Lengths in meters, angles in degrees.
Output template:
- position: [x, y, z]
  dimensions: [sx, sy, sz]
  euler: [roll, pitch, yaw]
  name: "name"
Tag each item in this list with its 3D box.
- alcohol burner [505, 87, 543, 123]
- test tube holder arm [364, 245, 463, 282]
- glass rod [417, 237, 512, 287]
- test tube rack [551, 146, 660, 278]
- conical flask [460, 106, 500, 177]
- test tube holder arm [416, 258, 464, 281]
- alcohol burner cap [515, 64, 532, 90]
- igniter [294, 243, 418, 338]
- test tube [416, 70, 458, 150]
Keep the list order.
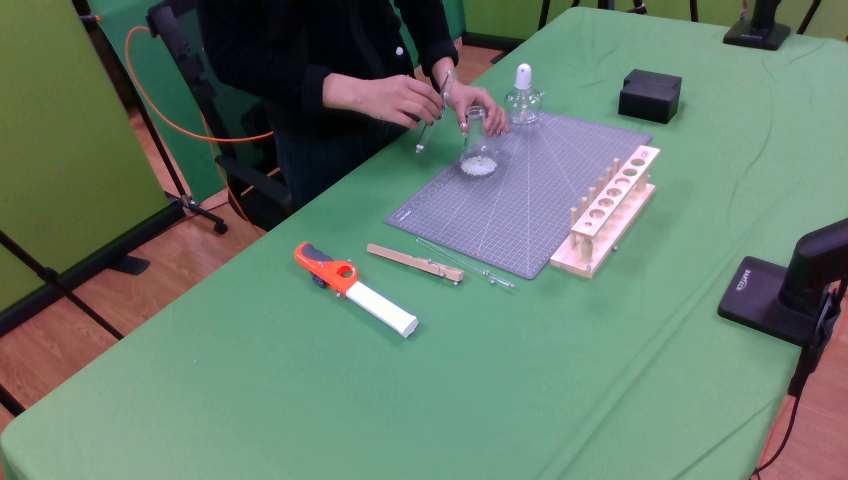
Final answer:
- position: [0.202, -0.298, 1.222]
  dimensions: [0.078, 0.119, 0.077]
  euler: [-4, 40, 4]
  name: "alcohol burner"
- position: [-0.020, 0.034, 0.947]
  dimensions: [0.177, 0.015, 0.013]
  euler: [16, 10, 26]
  name: "test tube holder arm"
- position: [0.059, 0.032, 0.945]
  dimensions: [0.198, 0.008, 0.008]
  euler: [26, 52, 38]
  name: "glass rod"
- position: [0.286, -0.053, 0.943]
  dimensions: [0.066, 0.085, 0.243]
  euler: [21, 49, 32]
  name: "test tube rack"
- position: [0.097, -0.181, 1.097]
  dimensions: [0.075, 0.122, 0.075]
  euler: [-6, 40, 5]
  name: "conical flask"
- position: [0.022, 0.045, 0.931]
  dimensions: [0.087, 0.015, 0.010]
  euler: [16, 10, 28]
  name: "test tube holder arm"
- position: [0.199, -0.325, 1.198]
  dimensions: [0.034, 0.048, 0.033]
  euler: [0, 45, 1]
  name: "alcohol burner cap"
- position: [-0.114, 0.070, 0.919]
  dimensions: [0.274, 0.025, 0.057]
  euler: [29, 63, 37]
  name: "igniter"
- position: [0.020, -0.216, 1.017]
  dimensions: [0.017, 0.150, 0.017]
  euler: [20, 30, -12]
  name: "test tube"
